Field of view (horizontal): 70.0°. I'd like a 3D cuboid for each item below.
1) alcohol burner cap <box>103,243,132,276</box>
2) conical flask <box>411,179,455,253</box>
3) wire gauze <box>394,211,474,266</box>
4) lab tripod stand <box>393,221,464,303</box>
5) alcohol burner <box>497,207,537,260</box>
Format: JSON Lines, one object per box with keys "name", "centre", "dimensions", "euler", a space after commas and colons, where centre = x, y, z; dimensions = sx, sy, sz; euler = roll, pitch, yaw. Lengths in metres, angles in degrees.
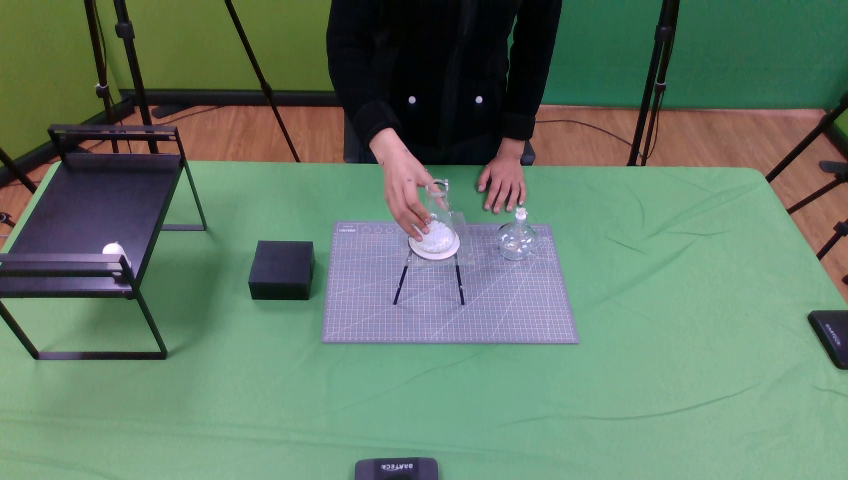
{"name": "alcohol burner cap", "centre": [-0.446, 0.025, 0.875], "dimensions": [0.034, 0.048, 0.033], "euler": [3, 46, -3]}
{"name": "conical flask", "centre": [0.017, -0.043, 0.984], "dimensions": [0.075, 0.122, 0.075], "euler": [2, 48, -2]}
{"name": "wire gauze", "centre": [0.015, -0.002, 1.029], "dimensions": [0.125, 0.011, 0.120], "euler": [-4, 47, -6]}
{"name": "lab tripod stand", "centre": [0.010, 0.045, 1.074], "dimensions": [0.148, 0.132, 0.147], "euler": [2, 48, -2]}
{"name": "alcohol burner", "centre": [0.180, -0.019, 1.163], "dimensions": [0.078, 0.120, 0.077], "euler": [1, 48, -1]}
